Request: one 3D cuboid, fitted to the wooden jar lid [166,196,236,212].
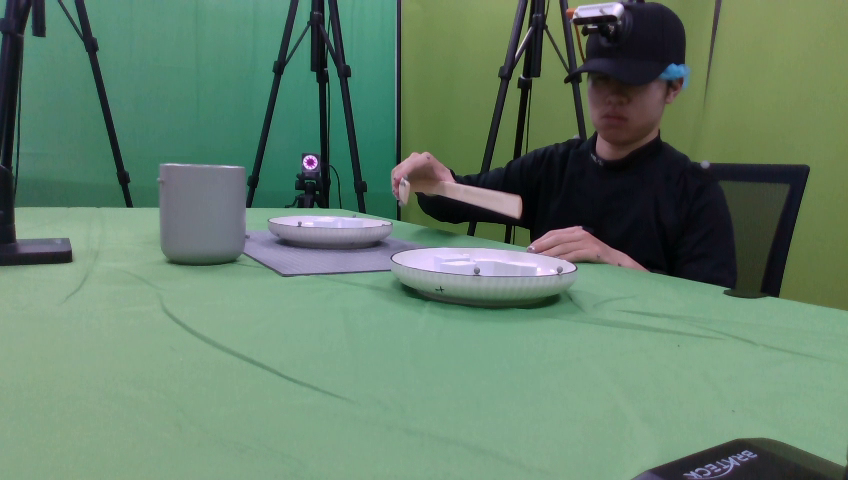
[{"bbox_3d":[-0.369,-0.060,1.001,0.108,0.020,0.108,3,6,0],"label":"wooden jar lid"}]

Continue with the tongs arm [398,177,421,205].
[{"bbox_3d":[-0.015,-0.074,0.872,0.051,0.026,0.384,4,7,-6],"label":"tongs arm"}]

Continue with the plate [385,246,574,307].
[{"bbox_3d":[0.060,0.041,0.678,0.208,0.039,0.207,3,7,0],"label":"plate"}]

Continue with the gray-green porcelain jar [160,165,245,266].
[{"bbox_3d":[-0.291,-0.034,0.799,0.106,0.126,0.106,2,8,0],"label":"gray-green porcelain jar"}]

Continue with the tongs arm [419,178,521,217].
[{"bbox_3d":[0.056,-0.067,0.885,0.028,0.028,0.386,-1,9,-16],"label":"tongs arm"}]

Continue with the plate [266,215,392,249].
[{"bbox_3d":[-0.159,-0.015,1.019,0.209,0.038,0.209,3,7,0],"label":"plate"}]
